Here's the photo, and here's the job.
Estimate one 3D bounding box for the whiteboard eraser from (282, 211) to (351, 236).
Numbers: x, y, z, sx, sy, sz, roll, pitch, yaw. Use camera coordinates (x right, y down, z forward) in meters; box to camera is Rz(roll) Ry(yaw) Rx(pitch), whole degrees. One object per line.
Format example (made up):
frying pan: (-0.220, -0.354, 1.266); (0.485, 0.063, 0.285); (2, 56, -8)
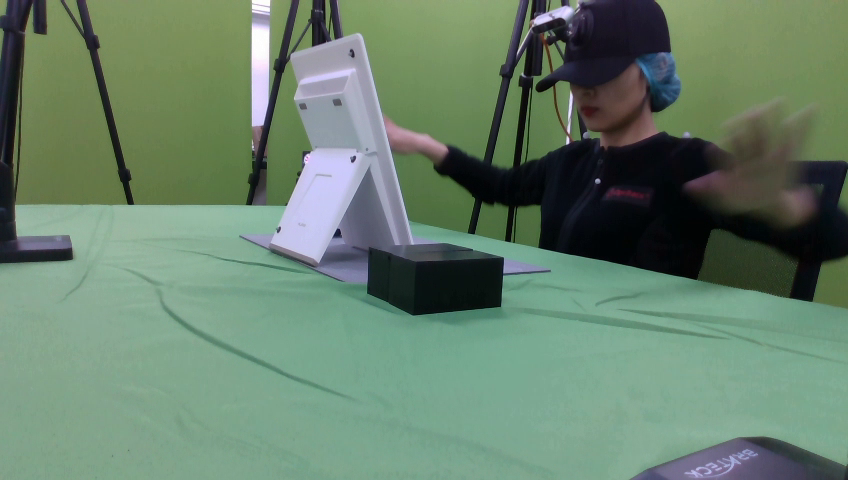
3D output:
whiteboard eraser: (-0.189, -0.029, 1.066); (0.113, 0.042, 0.055); (-2, 8, -29)

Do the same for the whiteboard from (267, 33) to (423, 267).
whiteboard: (-0.153, -0.097, 0.818); (0.144, 0.305, 0.216); (-24, 20, -28)
